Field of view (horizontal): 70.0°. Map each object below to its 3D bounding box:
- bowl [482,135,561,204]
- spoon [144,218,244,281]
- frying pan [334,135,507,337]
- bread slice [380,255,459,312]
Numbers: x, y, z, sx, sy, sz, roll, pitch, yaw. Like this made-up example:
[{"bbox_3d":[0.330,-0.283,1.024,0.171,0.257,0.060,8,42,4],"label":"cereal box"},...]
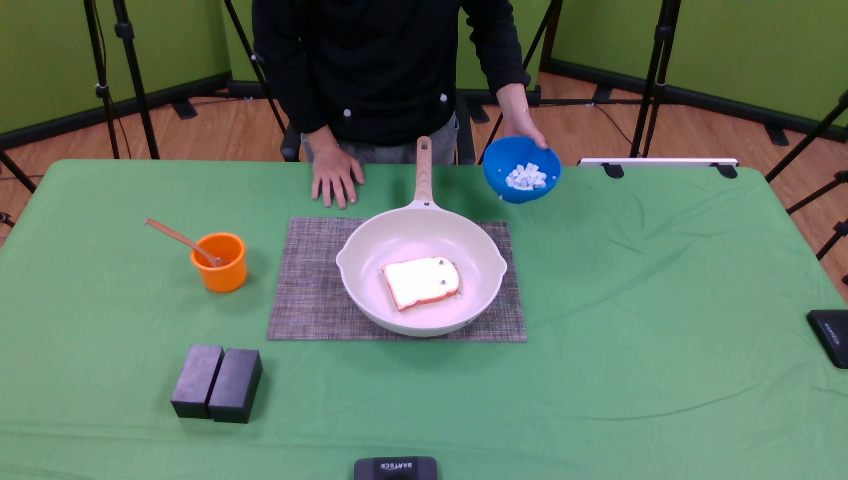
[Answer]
[{"bbox_3d":[0.180,-0.122,1.165,0.151,0.077,0.150,4,51,-4],"label":"bowl"},{"bbox_3d":[-0.401,0.016,1.064,0.195,0.021,0.041,41,36,-29],"label":"spoon"},{"bbox_3d":[-0.004,-0.026,1.160,0.307,0.103,0.485,4,55,-2],"label":"frying pan"},{"bbox_3d":[-0.005,0.074,1.119,0.134,0.018,0.106,-16,50,-16],"label":"bread slice"}]
